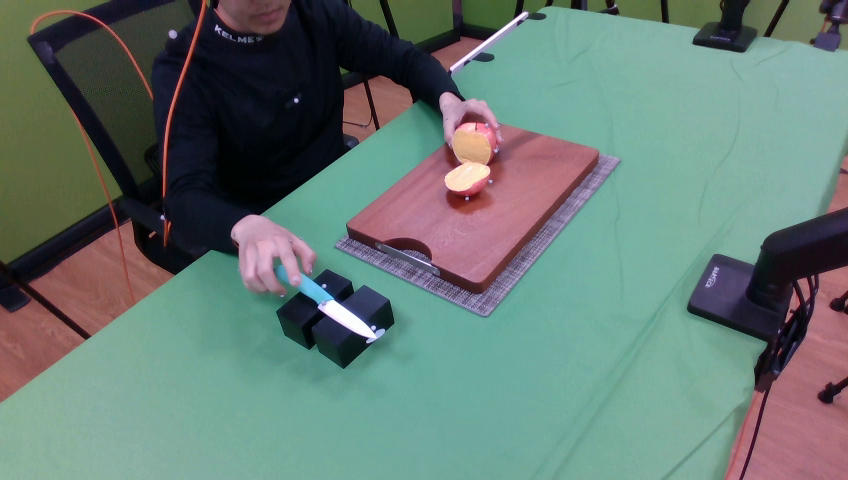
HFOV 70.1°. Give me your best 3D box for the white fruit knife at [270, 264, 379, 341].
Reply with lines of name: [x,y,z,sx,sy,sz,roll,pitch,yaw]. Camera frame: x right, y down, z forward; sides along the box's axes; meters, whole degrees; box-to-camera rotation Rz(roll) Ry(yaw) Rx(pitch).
white fruit knife: [-0.136,0.084,0.823,0.206,0.016,0.027,30,64,30]

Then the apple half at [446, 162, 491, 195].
apple half: [0.077,-0.099,1.020,0.081,0.033,0.081,-16,35,12]

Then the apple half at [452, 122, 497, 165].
apple half: [0.096,-0.173,1.073,0.080,0.075,0.053,14,39,27]
